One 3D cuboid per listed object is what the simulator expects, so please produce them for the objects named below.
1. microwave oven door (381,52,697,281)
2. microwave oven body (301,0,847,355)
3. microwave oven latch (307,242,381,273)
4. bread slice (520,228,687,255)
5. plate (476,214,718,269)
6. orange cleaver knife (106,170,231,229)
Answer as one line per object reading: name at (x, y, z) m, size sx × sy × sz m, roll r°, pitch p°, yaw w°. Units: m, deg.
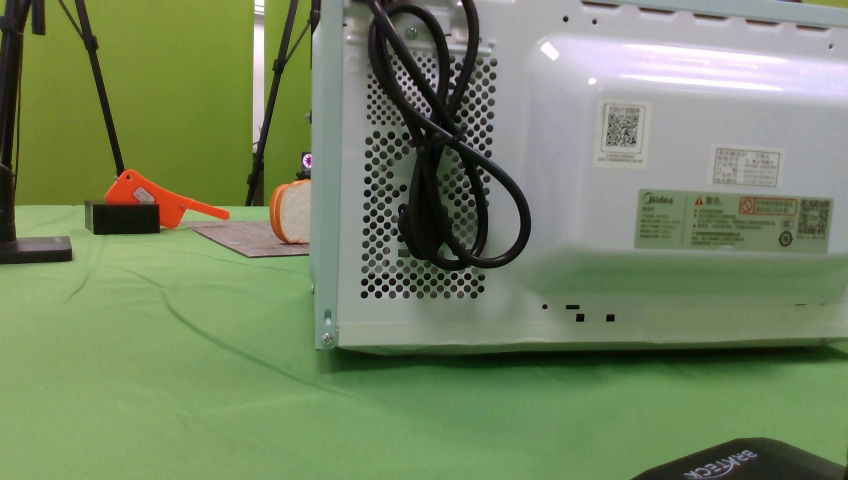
microwave oven door at (0.133, -0.078, 0.694) m, size 0.357 × 0.243 × 0.039 m, roll 2°, pitch 8°, yaw -9°
microwave oven body at (0.120, -0.053, 0.535) m, size 0.443 × 0.260 × 0.325 m, roll 2°, pitch 7°, yaw -11°
microwave oven latch at (-0.086, 0.019, 0.655) m, size 0.079 × 0.029 × 0.030 m, roll 2°, pitch 7°, yaw -10°
bread slice at (0.172, 0.001, 0.563) m, size 0.134 × 0.018 × 0.107 m, roll -2°, pitch 4°, yaw 31°
plate at (0.150, -0.001, 0.545) m, size 0.208 × 0.039 × 0.207 m, roll 0°, pitch 5°, yaw 0°
orange cleaver knife at (-0.458, -0.060, 1.097) m, size 0.212 × 0.077 × 0.012 m, roll 23°, pitch -4°, yaw -38°
